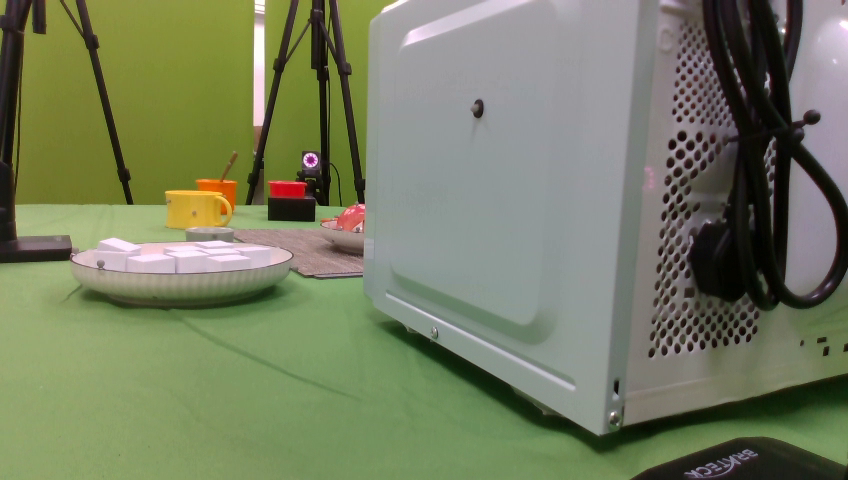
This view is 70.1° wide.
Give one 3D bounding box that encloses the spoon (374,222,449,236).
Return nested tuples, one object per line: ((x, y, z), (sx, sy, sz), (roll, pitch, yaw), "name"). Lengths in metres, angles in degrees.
((-0.028, -0.025, 1.178), (0.193, 0.021, 0.042), (9, 24, 41), "spoon")

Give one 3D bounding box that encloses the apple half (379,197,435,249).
((-0.020, -0.030, 0.891), (0.081, 0.053, 0.074), (-2, 49, -26), "apple half")

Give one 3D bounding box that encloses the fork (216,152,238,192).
((-0.455, -0.132, 1.367), (0.028, 0.018, 0.207), (-2, -35, -37), "fork")

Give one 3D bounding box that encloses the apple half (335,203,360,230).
((-0.116, -0.038, 0.959), (0.081, 0.033, 0.081), (-38, 8, 7), "apple half")

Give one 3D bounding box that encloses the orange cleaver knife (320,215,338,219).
((-0.142, -0.057, 1.395), (0.077, 0.012, 0.212), (3, 7, 44), "orange cleaver knife")

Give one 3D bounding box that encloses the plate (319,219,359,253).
((-0.059, -0.007, 0.939), (0.209, 0.038, 0.209), (3, 8, 0), "plate")

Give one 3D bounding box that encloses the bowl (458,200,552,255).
((0.128, -0.020, 0.978), (0.151, 0.077, 0.151), (3, 8, 0), "bowl")

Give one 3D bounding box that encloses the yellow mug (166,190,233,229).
((-0.415, -0.057, 1.132), (0.130, 0.064, 0.100), (6, 8, 16), "yellow mug")

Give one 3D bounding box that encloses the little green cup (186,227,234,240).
((-0.284, 0.005, 0.805), (0.061, 0.038, 0.061), (2, 8, 0), "little green cup")

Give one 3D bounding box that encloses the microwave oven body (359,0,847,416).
((0.211, -0.047, 0.474), (0.444, 0.260, 0.324), (-1, 7, -28), "microwave oven body")

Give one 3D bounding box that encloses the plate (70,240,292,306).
((-0.242, 0.031, 0.618), (0.208, 0.039, 0.207), (2, 8, 0), "plate")

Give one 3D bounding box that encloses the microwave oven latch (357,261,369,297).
((-0.019, 0.033, 0.531), (0.079, 0.029, 0.030), (-1, 7, -27), "microwave oven latch")

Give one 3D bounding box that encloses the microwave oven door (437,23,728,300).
((0.181, -0.072, 0.621), (0.358, 0.243, 0.039), (-2, 8, -29), "microwave oven door")

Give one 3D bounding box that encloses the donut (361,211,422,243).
((-0.051, -0.020, 0.958), (0.099, 0.048, 0.099), (4, 7, 0), "donut")
